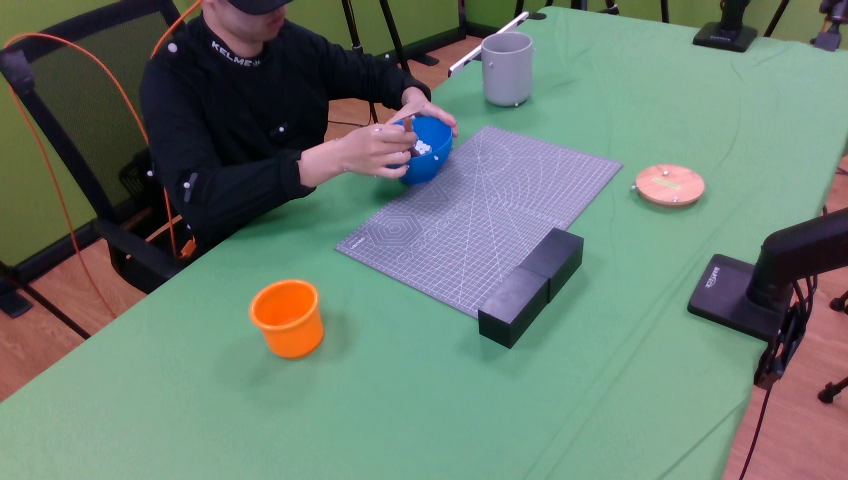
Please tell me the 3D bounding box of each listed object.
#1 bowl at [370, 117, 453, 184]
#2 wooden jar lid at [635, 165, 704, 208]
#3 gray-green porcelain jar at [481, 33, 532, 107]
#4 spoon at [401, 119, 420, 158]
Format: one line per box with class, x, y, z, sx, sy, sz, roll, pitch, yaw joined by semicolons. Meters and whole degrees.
bowl;-0.017;-0.155;1.107;0.151;0.077;0.150;-6;38;5
wooden jar lid;0.410;-0.089;1.014;0.108;0.021;0.108;-5;42;5
gray-green porcelain jar;0.175;-0.355;1.278;0.106;0.127;0.105;-4;41;4
spoon;-0.026;-0.164;1.020;0.041;0.194;0.021;-4;75;1
